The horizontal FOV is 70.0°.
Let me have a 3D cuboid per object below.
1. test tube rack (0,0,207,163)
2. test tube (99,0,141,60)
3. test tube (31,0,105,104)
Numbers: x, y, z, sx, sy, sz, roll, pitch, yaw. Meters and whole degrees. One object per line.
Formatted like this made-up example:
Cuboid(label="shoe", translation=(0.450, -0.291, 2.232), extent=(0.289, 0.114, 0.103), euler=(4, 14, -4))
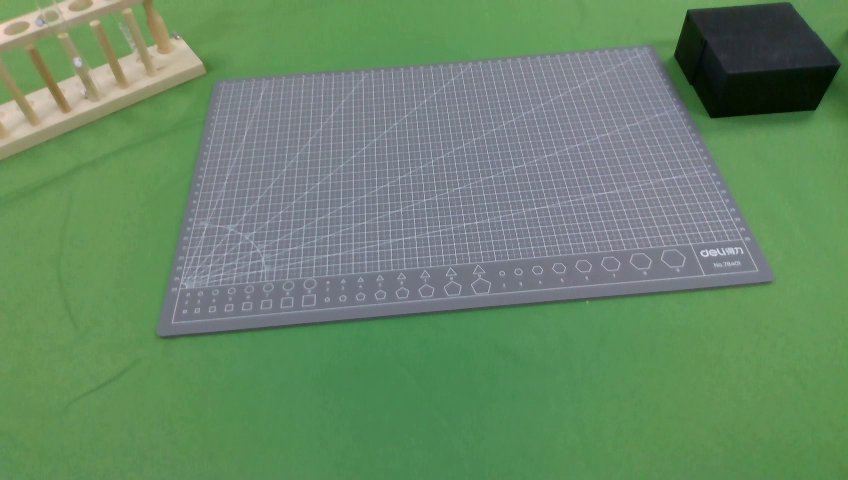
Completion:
Cuboid(label="test tube rack", translation=(-0.345, -0.159, 0.575), extent=(0.242, 0.086, 0.066), euler=(-31, 56, -20))
Cuboid(label="test tube", translation=(-0.302, -0.234, 0.569), extent=(0.017, 0.152, 0.017), euler=(-5, 52, 6))
Cuboid(label="test tube", translation=(-0.323, -0.184, 0.537), extent=(0.017, 0.152, 0.017), euler=(-1, 51, 2))
